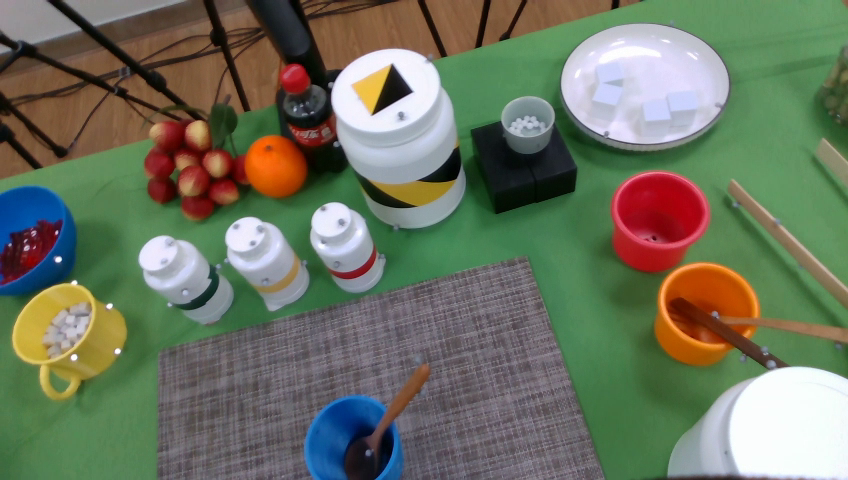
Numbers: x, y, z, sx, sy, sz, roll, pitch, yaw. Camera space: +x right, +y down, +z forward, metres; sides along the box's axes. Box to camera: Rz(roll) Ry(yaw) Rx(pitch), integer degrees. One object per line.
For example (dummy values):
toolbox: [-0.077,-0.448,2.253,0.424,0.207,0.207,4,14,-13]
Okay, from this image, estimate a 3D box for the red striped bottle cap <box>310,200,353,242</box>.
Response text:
red striped bottle cap: [-0.098,-0.020,0.639,0.044,0.018,0.044,-2,59,4]

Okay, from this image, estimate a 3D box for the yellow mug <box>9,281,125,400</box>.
yellow mug: [-0.417,0.120,0.705,0.100,0.064,0.129,-5,61,5]

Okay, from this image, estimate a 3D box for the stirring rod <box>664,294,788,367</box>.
stirring rod: [0.278,0.083,0.571,0.014,0.006,0.175,-20,17,-4]

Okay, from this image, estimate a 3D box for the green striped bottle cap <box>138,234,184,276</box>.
green striped bottle cap: [-0.282,0.016,0.649,0.044,0.020,0.044,-4,59,7]

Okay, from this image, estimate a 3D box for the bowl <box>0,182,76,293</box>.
bowl: [-0.506,0.009,0.774,0.151,0.077,0.150,-3,61,7]

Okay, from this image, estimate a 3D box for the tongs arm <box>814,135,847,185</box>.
tongs arm: [0.507,0.037,0.601,0.028,0.028,0.383,-16,57,-3]

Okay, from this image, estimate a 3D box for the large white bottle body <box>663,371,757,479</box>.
large white bottle body: [0.277,0.182,0.488,0.130,0.186,0.129,-4,60,7]

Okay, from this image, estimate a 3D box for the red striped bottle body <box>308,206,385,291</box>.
red striped bottle body: [-0.088,0.006,0.684,0.063,0.121,0.062,-6,59,11]

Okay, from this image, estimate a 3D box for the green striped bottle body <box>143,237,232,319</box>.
green striped bottle body: [-0.273,0.041,0.695,0.063,0.120,0.062,-4,60,7]

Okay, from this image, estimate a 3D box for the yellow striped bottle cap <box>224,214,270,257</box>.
yellow striped bottle cap: [-0.189,-0.005,0.646,0.044,0.019,0.044,-3,62,6]

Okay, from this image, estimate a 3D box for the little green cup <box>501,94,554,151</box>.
little green cup: [0.122,-0.137,0.718,0.061,0.039,0.061,-4,59,6]

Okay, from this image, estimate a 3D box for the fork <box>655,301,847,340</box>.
fork: [0.305,0.076,0.564,0.028,0.019,0.206,-47,20,-21]

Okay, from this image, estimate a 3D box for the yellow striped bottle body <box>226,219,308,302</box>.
yellow striped bottle body: [-0.181,0.020,0.691,0.063,0.121,0.062,-4,61,8]

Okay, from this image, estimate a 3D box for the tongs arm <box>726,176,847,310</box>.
tongs arm: [0.448,0.063,0.598,0.051,0.027,0.380,-25,57,-5]

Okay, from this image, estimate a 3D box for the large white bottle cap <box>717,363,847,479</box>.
large white bottle cap: [0.264,0.141,0.415,0.115,0.018,0.114,-4,60,7]

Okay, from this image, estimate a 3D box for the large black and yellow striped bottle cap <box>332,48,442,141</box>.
large black and yellow striped bottle cap: [-0.039,-0.153,0.630,0.115,0.019,0.114,-4,60,8]

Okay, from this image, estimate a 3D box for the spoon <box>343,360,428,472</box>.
spoon: [-0.037,0.166,0.547,0.022,0.194,0.041,-14,57,-37]

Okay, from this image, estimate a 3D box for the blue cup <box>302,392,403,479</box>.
blue cup: [-0.059,0.201,0.578,0.092,0.101,0.092,-4,59,7]

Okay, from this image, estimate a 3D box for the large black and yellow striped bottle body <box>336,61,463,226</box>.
large black and yellow striped bottle body: [-0.026,-0.114,0.703,0.130,0.185,0.129,-4,61,7]

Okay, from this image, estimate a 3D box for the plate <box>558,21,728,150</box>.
plate: [0.278,-0.198,0.785,0.209,0.038,0.207,-4,61,7]
